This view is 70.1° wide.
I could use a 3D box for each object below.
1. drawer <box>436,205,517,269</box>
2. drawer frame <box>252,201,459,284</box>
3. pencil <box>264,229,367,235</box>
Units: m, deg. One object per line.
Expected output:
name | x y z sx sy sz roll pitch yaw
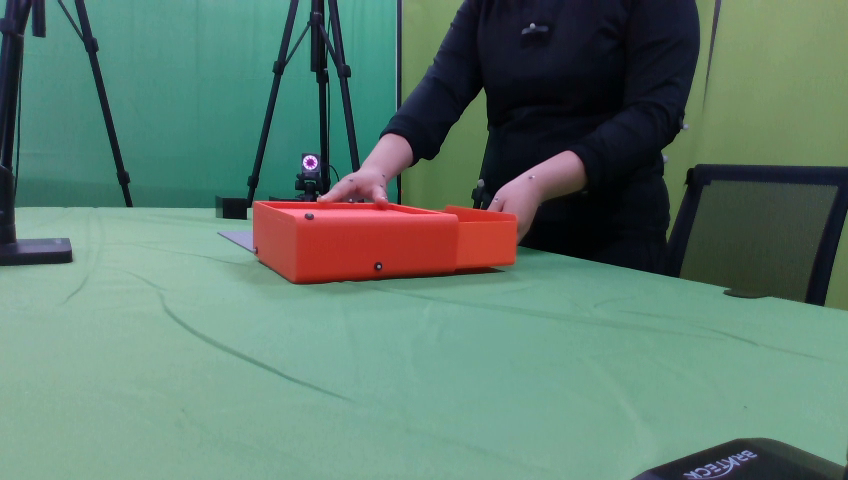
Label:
drawer | -0.011 -0.006 0.836 0.213 0.073 0.193 -3 9 -28
drawer frame | -0.094 -0.005 0.788 0.215 0.082 0.200 -2 10 -30
pencil | -0.195 -0.014 1.109 0.195 0.012 0.012 0 7 -28
